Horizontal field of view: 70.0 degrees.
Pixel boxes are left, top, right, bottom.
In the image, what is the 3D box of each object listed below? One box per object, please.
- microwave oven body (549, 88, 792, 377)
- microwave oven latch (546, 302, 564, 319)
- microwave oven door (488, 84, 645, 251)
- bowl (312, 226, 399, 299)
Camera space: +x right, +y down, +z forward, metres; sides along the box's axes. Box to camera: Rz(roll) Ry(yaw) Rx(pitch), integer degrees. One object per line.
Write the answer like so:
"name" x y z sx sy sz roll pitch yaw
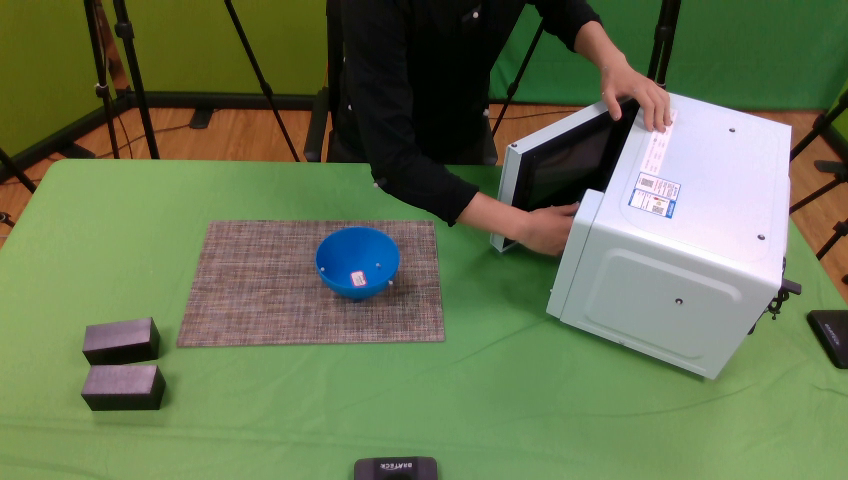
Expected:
"microwave oven body" 0.456 -0.028 1.088 0.325 0.261 0.440 20 47 16
"microwave oven latch" 0.242 0.102 1.081 0.030 0.029 0.079 22 48 17
"microwave oven door" 0.281 -0.144 1.180 0.356 0.245 0.039 -28 55 -27
"bowl" -0.120 0.054 1.091 0.151 0.077 0.150 2 46 -2
